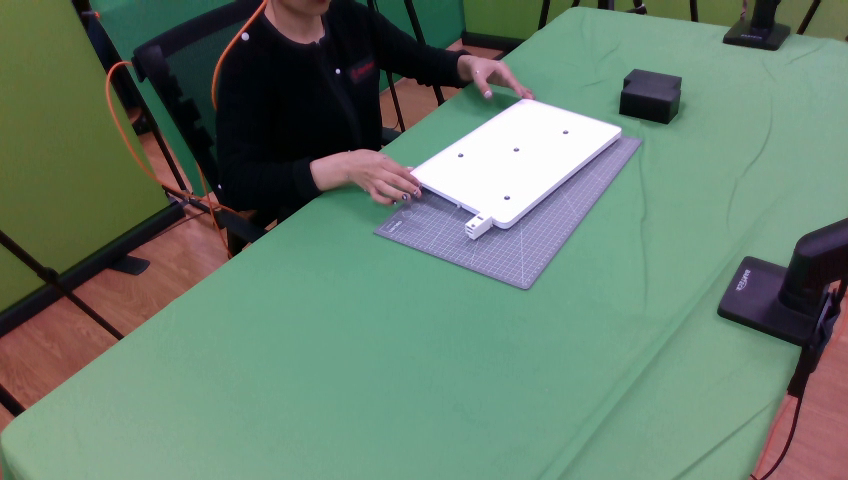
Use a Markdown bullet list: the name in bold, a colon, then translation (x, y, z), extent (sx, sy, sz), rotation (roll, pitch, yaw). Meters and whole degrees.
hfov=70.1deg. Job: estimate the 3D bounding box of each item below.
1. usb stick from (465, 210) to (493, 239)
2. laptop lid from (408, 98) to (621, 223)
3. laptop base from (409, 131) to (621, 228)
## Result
- **usb stick**: translation (0.094, -0.028, 0.978), extent (0.059, 0.027, 0.021), rotation (-33, 48, -29)
- **laptop lid**: translation (0.171, -0.164, 1.119), extent (0.358, 0.013, 0.239), rotation (-36, 48, -29)
- **laptop base**: translation (0.174, -0.154, 1.126), extent (0.233, 0.023, 0.355), rotation (28, 52, 36)
